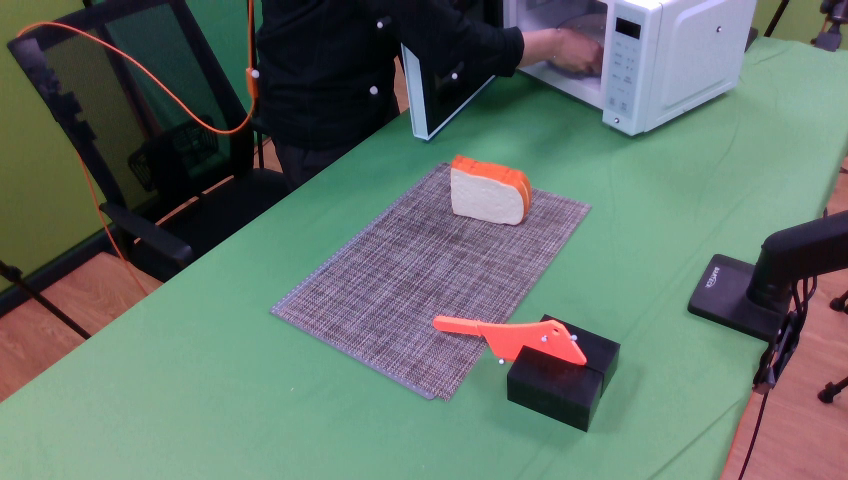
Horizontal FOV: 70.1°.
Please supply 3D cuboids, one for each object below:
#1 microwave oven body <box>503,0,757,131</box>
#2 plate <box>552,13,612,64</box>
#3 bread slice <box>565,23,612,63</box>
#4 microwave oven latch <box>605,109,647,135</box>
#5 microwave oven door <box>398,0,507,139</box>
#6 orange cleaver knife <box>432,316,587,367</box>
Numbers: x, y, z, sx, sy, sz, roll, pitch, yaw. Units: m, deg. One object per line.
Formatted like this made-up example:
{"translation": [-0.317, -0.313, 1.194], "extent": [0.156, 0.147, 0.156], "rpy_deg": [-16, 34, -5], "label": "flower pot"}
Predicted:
{"translation": [0.396, -0.448, 1.248], "extent": [0.327, 0.261, 0.437], "rpy_deg": [-27, 44, -21], "label": "microwave oven body"}
{"translation": [0.382, -0.429, 1.305], "extent": [0.207, 0.039, 0.206], "rpy_deg": [-5, 42, 5], "label": "plate"}
{"translation": [0.361, -0.431, 1.320], "extent": [0.107, 0.018, 0.134], "rpy_deg": [2, 52, 10], "label": "bread slice"}
{"translation": [0.379, -0.225, 1.139], "extent": [0.030, 0.029, 0.078], "rpy_deg": [-26, 43, -20], "label": "microwave oven latch"}
{"translation": [0.071, -0.398, 1.227], "extent": [0.039, 0.245, 0.356], "rpy_deg": [17, 46, 27], "label": "microwave oven door"}
{"translation": [0.101, 0.127, 0.761], "extent": [0.210, 0.077, 0.012], "rpy_deg": [-1, 34, 40], "label": "orange cleaver knife"}
